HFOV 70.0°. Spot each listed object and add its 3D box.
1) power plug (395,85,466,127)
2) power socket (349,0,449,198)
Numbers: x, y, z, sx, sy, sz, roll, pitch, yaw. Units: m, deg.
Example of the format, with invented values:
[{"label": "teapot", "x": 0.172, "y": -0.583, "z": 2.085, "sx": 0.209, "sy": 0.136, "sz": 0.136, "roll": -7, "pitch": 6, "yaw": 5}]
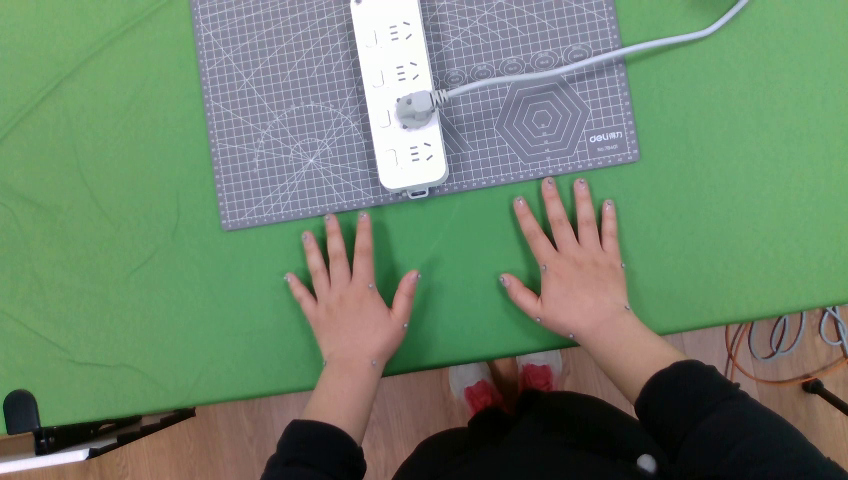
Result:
[{"label": "power plug", "x": 0.007, "y": -0.131, "z": 0.607, "sx": 0.072, "sy": 0.053, "sz": 0.035, "roll": 0, "pitch": 89, "yaw": 5}, {"label": "power socket", "x": -0.026, "y": -0.157, "z": 0.630, "sx": 0.072, "sy": 0.032, "sz": 0.226, "roll": -10, "pitch": 87, "yaw": 5}]
